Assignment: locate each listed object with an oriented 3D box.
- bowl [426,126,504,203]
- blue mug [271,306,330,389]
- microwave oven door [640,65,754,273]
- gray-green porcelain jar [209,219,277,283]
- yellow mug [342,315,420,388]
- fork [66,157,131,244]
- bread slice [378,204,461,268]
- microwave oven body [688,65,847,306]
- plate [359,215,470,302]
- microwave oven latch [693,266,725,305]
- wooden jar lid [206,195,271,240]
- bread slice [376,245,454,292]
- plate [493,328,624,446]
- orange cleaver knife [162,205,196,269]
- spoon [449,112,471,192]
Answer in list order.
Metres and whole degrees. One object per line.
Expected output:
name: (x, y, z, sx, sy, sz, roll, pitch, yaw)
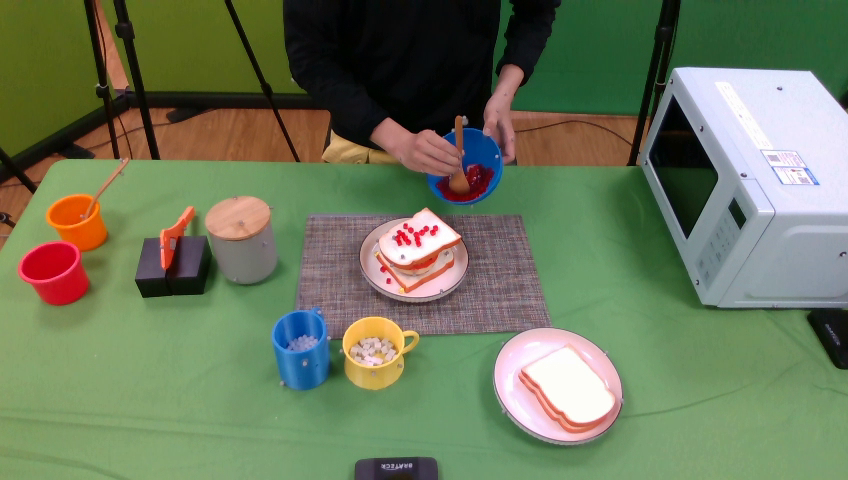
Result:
bowl: (0.087, -0.134, 1.157, 0.151, 0.077, 0.151, -5, 76, 20)
blue mug: (-0.188, 0.163, 0.969, 0.082, 0.106, 0.116, 15, 47, 10)
microwave oven door: (0.523, -0.147, 1.193, 0.039, 0.245, 0.353, 0, 47, -3)
gray-green porcelain jar: (-0.323, 0.007, 1.092, 0.106, 0.127, 0.105, 2, 46, -2)
yellow mug: (-0.068, 0.177, 0.990, 0.131, 0.064, 0.099, -15, 50, -19)
fork: (-0.608, -0.074, 1.132, 0.207, 0.019, 0.028, -52, 48, 10)
bread slice: (-0.013, -0.002, 1.097, 0.134, 0.018, 0.106, -34, 50, -22)
microwave oven body: (0.669, -0.111, 1.176, 0.326, 0.261, 0.439, 0, 46, -3)
plate: (-0.019, 0.038, 1.140, 0.209, 0.038, 0.208, 2, 46, -2)
microwave oven latch: (0.523, 0.081, 1.115, 0.030, 0.029, 0.078, 3, 46, 0)
wooden jar lid: (-0.319, -0.036, 1.046, 0.108, 0.021, 0.107, 1, 44, 0)
bread slice: (-0.010, 0.033, 1.149, 0.131, 0.019, 0.104, -27, 55, -25)
plate: (0.213, 0.236, 0.974, 0.208, 0.039, 0.206, 2, 46, -2)
orange cleaver knife: (-0.454, -0.010, 1.129, 0.012, 0.077, 0.210, -2, 20, -5)
spoon: (0.062, -0.151, 1.072, 0.041, 0.195, 0.021, 13, 50, 15)
